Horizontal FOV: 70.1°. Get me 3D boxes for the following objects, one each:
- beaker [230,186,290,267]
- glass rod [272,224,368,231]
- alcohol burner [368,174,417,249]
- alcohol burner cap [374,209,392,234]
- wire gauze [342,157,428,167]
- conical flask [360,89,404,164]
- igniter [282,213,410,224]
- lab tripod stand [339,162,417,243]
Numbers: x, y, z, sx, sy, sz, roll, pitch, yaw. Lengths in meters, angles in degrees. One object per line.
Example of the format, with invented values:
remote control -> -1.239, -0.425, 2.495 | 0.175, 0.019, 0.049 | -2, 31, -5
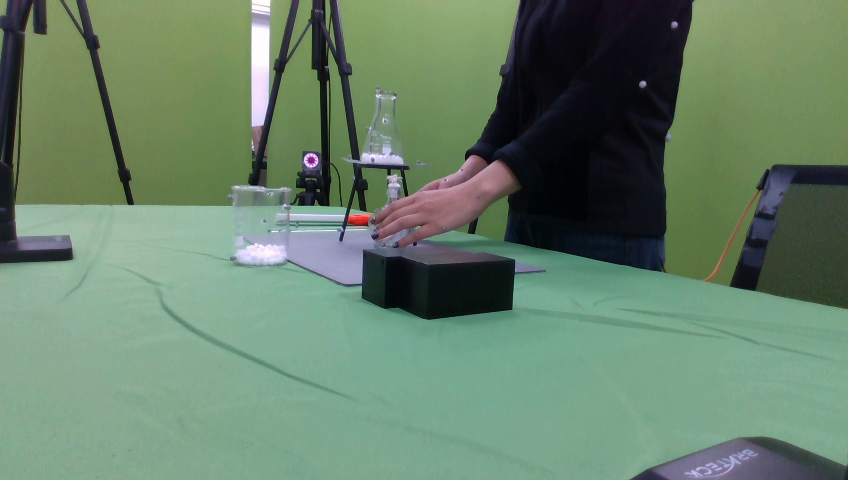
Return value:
beaker -> -0.209, -0.019, 0.778 | 0.074, 0.100, 0.084 | 3, 6, 4
glass rod -> -0.197, -0.024, 1.170 | 0.201, 0.008, 0.008 | -3, 9, -34
alcohol burner -> -0.049, -0.045, 0.954 | 0.078, 0.119, 0.078 | 5, 9, 0
alcohol burner cap -> -0.078, -0.036, 1.148 | 0.034, 0.048, 0.034 | 2, 7, 0
wire gauze -> -0.065, -0.130, 1.016 | 0.122, 0.011, 0.124 | 2, 5, -27
conical flask -> -0.067, -0.189, 1.010 | 0.075, 0.122, 0.075 | 4, 6, 0
igniter -> -0.159, -0.046, 1.287 | 0.278, 0.025, 0.057 | 0, -3, -21
lab tripod stand -> -0.068, -0.065, 1.027 | 0.148, 0.131, 0.148 | 4, 7, 0
